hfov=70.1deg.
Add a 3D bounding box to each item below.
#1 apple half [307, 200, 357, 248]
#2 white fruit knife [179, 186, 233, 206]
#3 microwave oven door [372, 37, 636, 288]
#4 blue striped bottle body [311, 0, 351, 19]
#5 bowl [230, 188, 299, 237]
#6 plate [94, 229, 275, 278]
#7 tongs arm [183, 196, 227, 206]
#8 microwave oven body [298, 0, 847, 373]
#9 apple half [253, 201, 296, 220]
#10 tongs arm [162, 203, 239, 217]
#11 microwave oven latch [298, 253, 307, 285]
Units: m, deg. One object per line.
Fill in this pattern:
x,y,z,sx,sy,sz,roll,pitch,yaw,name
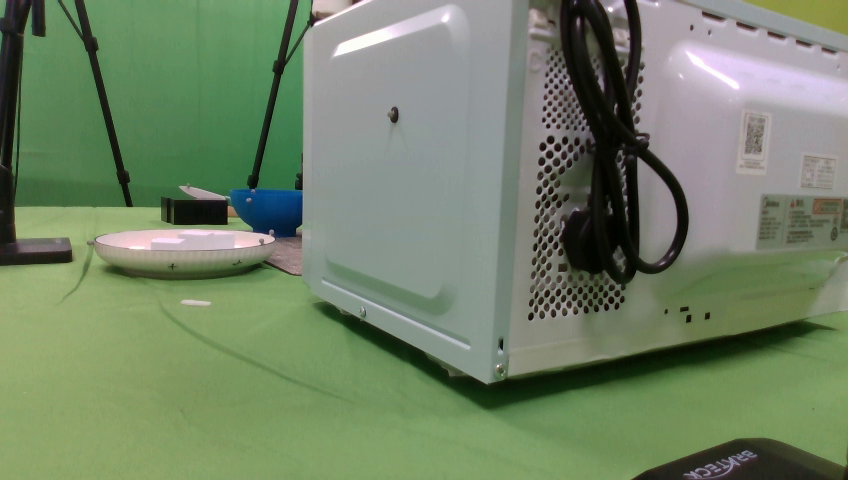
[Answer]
-0.135,-0.024,0.941,0.053,0.074,0.081,13,8,39,apple half
-0.413,-0.081,1.270,0.208,0.027,0.016,17,13,-41,white fruit knife
0.110,-0.080,0.686,0.358,0.243,0.039,-2,9,-33,microwave oven door
-0.144,-0.414,0.961,0.063,0.120,0.063,6,9,-1,blue striped bottle body
-0.264,-0.048,1.065,0.151,0.077,0.151,3,8,0,bowl
-0.291,0.016,0.750,0.208,0.039,0.207,2,7,0,plate
-0.404,-0.081,1.479,0.385,0.026,0.050,4,8,-2,tongs arm
0.151,-0.055,0.542,0.444,0.260,0.324,-2,7,-33,microwave oven body
-0.264,-0.053,1.067,0.081,0.033,0.081,1,8,0,apple half
-0.396,-0.066,1.399,0.389,0.028,0.028,1,5,-15,tongs arm
-0.082,0.027,0.583,0.079,0.029,0.030,-2,8,-34,microwave oven latch
